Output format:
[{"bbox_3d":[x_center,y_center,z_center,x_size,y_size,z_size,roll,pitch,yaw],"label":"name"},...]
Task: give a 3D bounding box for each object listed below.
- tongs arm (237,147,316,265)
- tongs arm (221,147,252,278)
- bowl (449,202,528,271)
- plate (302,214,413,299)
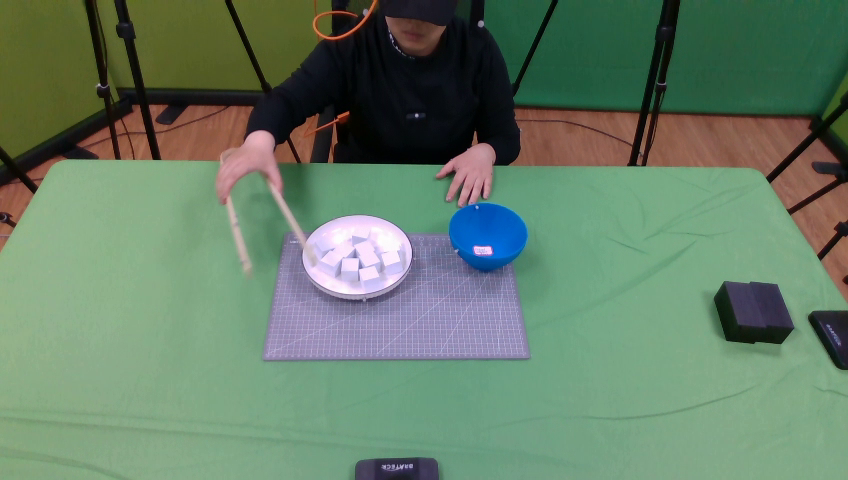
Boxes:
[{"bbox_3d":[-0.276,-0.074,1.115,0.028,0.028,0.385,-19,44,-23],"label":"tongs arm"},{"bbox_3d":[-0.328,-0.064,1.092,0.051,0.026,0.382,-12,41,-21],"label":"tongs arm"},{"bbox_3d":[0.118,0.006,1.160,0.151,0.077,0.150,2,46,-2],"label":"bowl"},{"bbox_3d":[-0.124,0.033,1.143,0.208,0.039,0.206,2,46,-2],"label":"plate"}]
